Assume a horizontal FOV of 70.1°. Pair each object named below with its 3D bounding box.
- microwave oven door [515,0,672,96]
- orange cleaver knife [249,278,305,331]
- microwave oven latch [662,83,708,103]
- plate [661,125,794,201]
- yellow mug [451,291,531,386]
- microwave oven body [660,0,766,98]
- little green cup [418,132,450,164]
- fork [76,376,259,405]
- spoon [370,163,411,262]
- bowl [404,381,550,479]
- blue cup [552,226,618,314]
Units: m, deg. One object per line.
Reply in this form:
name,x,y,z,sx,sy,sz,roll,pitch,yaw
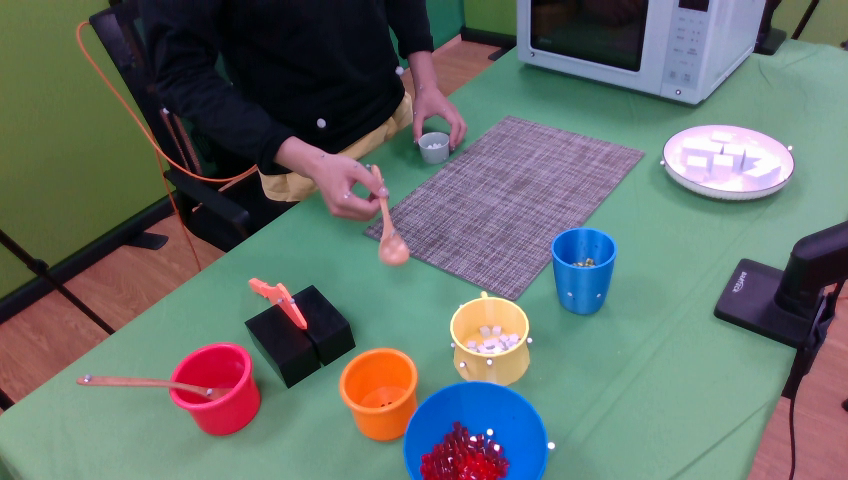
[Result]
microwave oven door,0.343,-0.454,1.259,0.353,0.245,0.039,26,51,33
orange cleaver knife,-0.210,0.089,0.856,0.012,0.077,0.210,-28,15,-25
microwave oven latch,0.518,-0.296,1.204,0.078,0.029,0.030,28,52,35
plate,0.513,-0.128,1.035,0.207,0.039,0.206,-4,40,4
yellow mug,0.086,0.120,0.786,0.100,0.064,0.130,-7,39,1
microwave oven body,0.472,-0.513,1.317,0.438,0.261,0.327,26,51,34
little green cup,0.020,-0.176,1.168,0.061,0.039,0.061,-2,40,2
fork,-0.295,0.176,0.716,0.209,0.018,0.028,19,27,-36
spoon,-0.054,-0.044,0.870,0.042,0.022,0.192,-10,57,-8
bowl,0.058,0.235,0.645,0.151,0.077,0.150,-4,39,4
blue cup,0.218,0.047,0.826,0.092,0.100,0.092,-6,40,5
